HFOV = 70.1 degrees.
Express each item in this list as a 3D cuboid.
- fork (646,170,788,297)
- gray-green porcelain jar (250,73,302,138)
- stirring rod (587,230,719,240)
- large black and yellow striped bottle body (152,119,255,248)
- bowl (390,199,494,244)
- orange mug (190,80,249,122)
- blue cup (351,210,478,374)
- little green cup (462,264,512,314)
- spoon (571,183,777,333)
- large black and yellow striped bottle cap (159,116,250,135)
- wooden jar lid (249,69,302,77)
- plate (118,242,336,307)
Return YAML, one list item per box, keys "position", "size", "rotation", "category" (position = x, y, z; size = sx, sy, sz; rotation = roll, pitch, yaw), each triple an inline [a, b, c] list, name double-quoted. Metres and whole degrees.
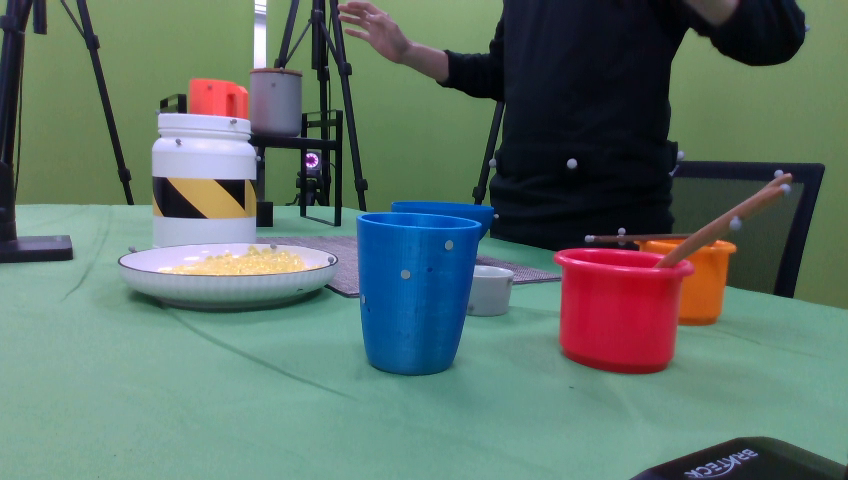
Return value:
- position: [0.256, 0.004, 0.543]
  size: [0.028, 0.018, 0.207]
  rotation: [3, -36, -9]
  category: "fork"
- position: [-0.312, -0.280, 1.270]
  size: [0.106, 0.126, 0.106]
  rotation: [3, 8, 0]
  category: "gray-green porcelain jar"
- position: [0.226, -0.005, 0.587]
  size: [0.177, 0.006, 0.014]
  rotation: [-2, 10, -29]
  category: "stirring rod"
- position: [-0.296, -0.070, 0.819]
  size: [0.131, 0.184, 0.130]
  rotation: [2, 7, 0]
  category: "large black and yellow striped bottle body"
- position: [0.024, -0.015, 0.871]
  size: [0.151, 0.077, 0.151]
  rotation: [3, 7, 0]
  category: "bowl"
- position: [-0.393, -0.257, 1.173]
  size: [0.126, 0.100, 0.084]
  rotation: [1, 6, 25]
  category: "orange mug"
- position: [-0.009, 0.034, 0.414]
  size: [0.093, 0.100, 0.092]
  rotation: [4, 8, 0]
  category: "blue cup"
- position: [0.053, 0.047, 0.580]
  size: [0.061, 0.038, 0.061]
  rotation: [3, 8, 0]
  category: "little green cup"
- position: [0.161, 0.020, 0.413]
  size: [0.042, 0.021, 0.193]
  rotation: [0, -36, -24]
  category: "spoon"
- position: [-0.292, -0.153, 0.810]
  size: [0.115, 0.019, 0.115]
  rotation: [3, 9, 0]
  category: "large black and yellow striped bottle cap"
- position: [-0.309, -0.341, 1.262]
  size: [0.108, 0.020, 0.108]
  rotation: [1, 8, 0]
  category: "wooden jar lid"
- position: [-0.194, 0.033, 0.615]
  size: [0.209, 0.038, 0.209]
  rotation: [2, 7, 0]
  category: "plate"
